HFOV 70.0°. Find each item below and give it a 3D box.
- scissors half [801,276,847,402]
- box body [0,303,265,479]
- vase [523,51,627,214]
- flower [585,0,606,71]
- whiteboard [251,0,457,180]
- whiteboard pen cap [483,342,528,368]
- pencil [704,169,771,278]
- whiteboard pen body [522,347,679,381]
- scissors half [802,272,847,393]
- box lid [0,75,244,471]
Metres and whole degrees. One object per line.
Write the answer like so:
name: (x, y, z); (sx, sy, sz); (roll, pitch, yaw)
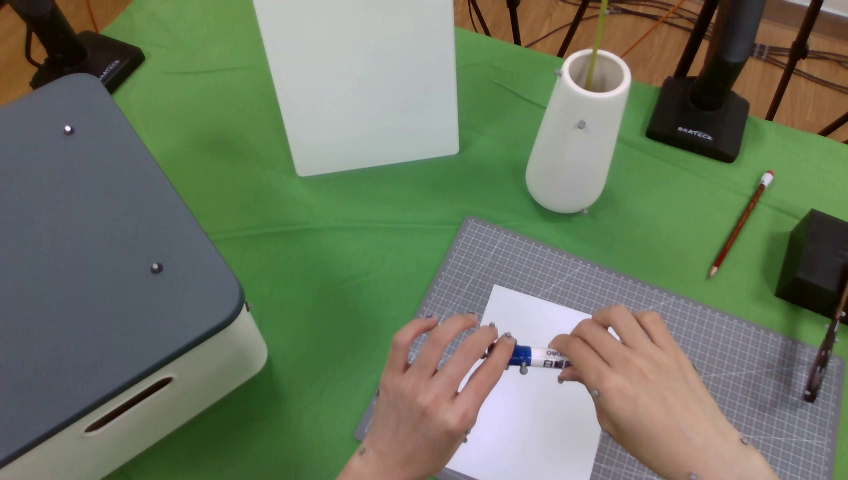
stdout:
scissors half: (0.433, 0.090, 0.643); (0.012, 0.040, 0.175); (18, 79, 38)
box body: (-0.360, 0.041, 0.622); (0.254, 0.161, 0.361); (-34, 65, -18)
vase: (0.172, -0.117, 0.696); (0.098, 0.201, 0.097); (0, 58, 1)
flower: (0.170, -0.173, 0.632); (0.044, 0.365, 0.038); (16, 43, 13)
whiteboard: (-0.083, -0.255, 0.750); (0.217, 0.308, 0.142); (-9, 40, -4)
whiteboard pen cap: (0.061, 0.086, 0.451); (0.033, 0.018, 0.018); (8, 59, -4)
pencil: (0.388, -0.023, 0.749); (0.012, 0.012, 0.193); (33, 66, 19)
whiteboard pen body: (0.120, 0.091, 0.452); (0.141, 0.017, 0.017); (6, 59, -3)
scissors half: (0.424, 0.081, 0.627); (0.012, 0.040, 0.174); (20, 62, 33)
box lid: (-0.362, 0.001, 0.558); (0.263, 0.015, 0.368); (-34, 65, -19)
